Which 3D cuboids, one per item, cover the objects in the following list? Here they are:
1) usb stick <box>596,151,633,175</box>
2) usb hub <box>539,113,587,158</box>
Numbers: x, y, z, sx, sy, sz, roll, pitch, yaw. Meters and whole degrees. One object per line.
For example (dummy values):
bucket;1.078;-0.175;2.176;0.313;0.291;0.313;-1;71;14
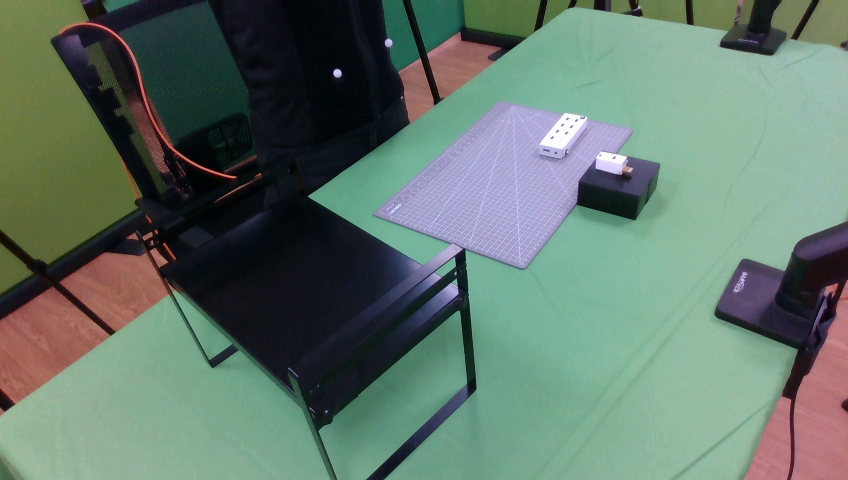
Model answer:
usb stick;0.315;-0.125;0.994;0.059;0.027;0.021;23;48;27
usb hub;0.269;-0.202;1.164;0.049;0.025;0.125;19;47;27
